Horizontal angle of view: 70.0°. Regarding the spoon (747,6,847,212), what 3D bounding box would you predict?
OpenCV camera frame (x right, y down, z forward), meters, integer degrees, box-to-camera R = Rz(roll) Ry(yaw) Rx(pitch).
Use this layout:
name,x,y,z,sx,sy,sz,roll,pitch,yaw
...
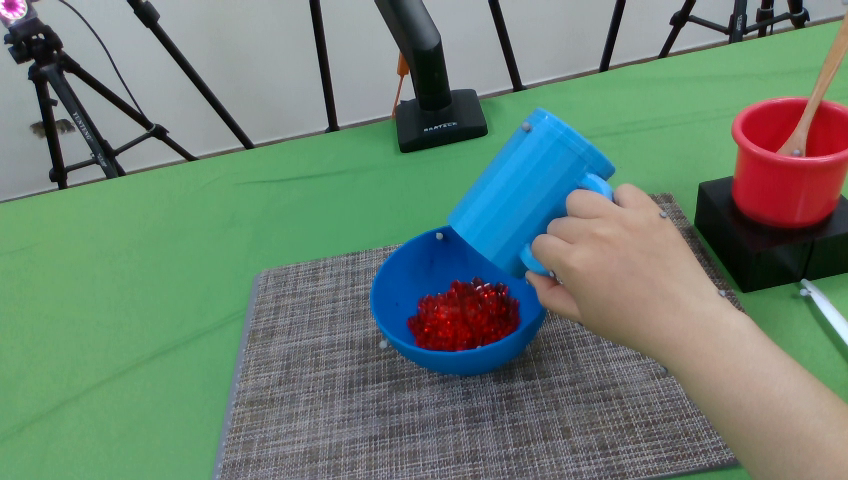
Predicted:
name,x,y,z,sx,sy,sz,roll,pitch,yaw
spoon,0.324,-0.113,0.504,0.041,0.022,0.194,27,99,40

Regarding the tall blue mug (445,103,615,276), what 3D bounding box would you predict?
name,x,y,z,sx,sy,sz,roll,pitch,yaw
tall blue mug,0.080,-0.033,0.444,0.108,0.078,0.106,-50,13,11

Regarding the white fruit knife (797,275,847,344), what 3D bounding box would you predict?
name,x,y,z,sx,sy,sz,roll,pitch,yaw
white fruit knife,0.333,0.095,0.444,0.027,0.016,0.205,10,37,-13

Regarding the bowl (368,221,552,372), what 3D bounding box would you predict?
name,x,y,z,sx,sy,sz,roll,pitch,yaw
bowl,0.035,0.059,0.515,0.151,0.077,0.150,-8,41,8
